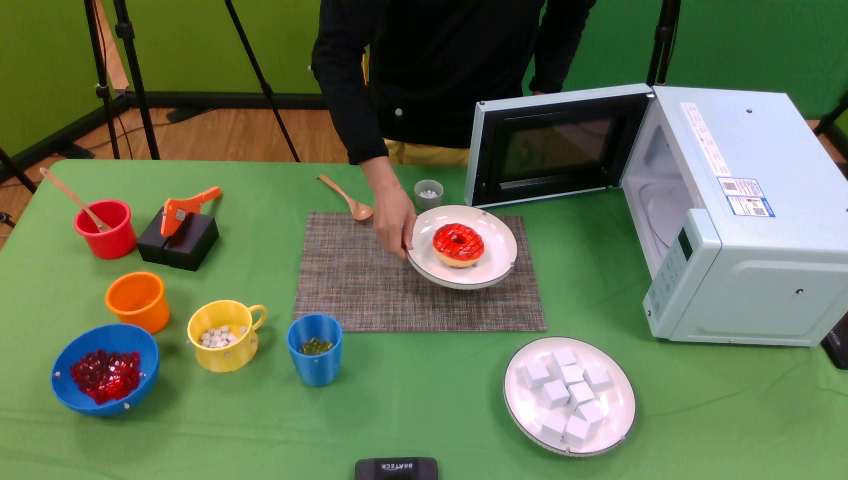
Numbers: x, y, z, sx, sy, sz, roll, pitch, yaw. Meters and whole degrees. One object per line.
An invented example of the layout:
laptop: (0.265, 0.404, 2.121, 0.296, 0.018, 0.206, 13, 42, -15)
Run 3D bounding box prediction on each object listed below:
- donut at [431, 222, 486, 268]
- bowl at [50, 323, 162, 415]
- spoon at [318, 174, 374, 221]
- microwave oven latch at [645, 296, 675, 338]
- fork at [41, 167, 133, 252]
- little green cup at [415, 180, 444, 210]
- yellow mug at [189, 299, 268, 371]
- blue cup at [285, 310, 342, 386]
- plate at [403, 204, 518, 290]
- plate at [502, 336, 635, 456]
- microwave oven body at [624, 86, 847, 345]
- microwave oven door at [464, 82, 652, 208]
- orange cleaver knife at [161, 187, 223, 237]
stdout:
donut: (0.062, 0.009, 1.091, 0.099, 0.048, 0.098, 5, 43, -4)
bowl: (-0.472, 0.209, 0.924, 0.151, 0.077, 0.150, 2, 45, -2)
spoon: (-0.168, -0.095, 1.274, 0.041, 0.022, 0.192, -38, 56, -15)
microwave oven latch: (0.412, 0.134, 1.061, 0.030, 0.029, 0.078, 3, 45, 0)
fork: (-0.624, -0.056, 1.121, 0.208, 0.018, 0.028, 50, 51, -15)
little green cup: (0.010, -0.094, 1.278, 0.061, 0.039, 0.061, 2, 48, -2)
yellow mug: (-0.316, 0.148, 1.002, 0.131, 0.064, 0.099, -32, 56, -31)
blue cup: (-0.170, 0.179, 0.958, 0.093, 0.101, 0.092, 2, 44, -1)
plate: (0.065, 0.016, 1.101, 0.209, 0.038, 0.208, 4, 44, -3)
plate: (0.225, 0.248, 0.963, 0.208, 0.039, 0.206, 2, 46, -2)
microwave oven body: (0.568, -0.053, 1.118, 0.326, 0.261, 0.439, 2, 45, -1)
microwave oven door: (0.264, -0.188, 1.221, 0.356, 0.245, 0.039, -9, 47, -13)
orange cleaver knife: (-0.448, -0.058, 1.181, 0.012, 0.077, 0.211, 13, 17, 6)
